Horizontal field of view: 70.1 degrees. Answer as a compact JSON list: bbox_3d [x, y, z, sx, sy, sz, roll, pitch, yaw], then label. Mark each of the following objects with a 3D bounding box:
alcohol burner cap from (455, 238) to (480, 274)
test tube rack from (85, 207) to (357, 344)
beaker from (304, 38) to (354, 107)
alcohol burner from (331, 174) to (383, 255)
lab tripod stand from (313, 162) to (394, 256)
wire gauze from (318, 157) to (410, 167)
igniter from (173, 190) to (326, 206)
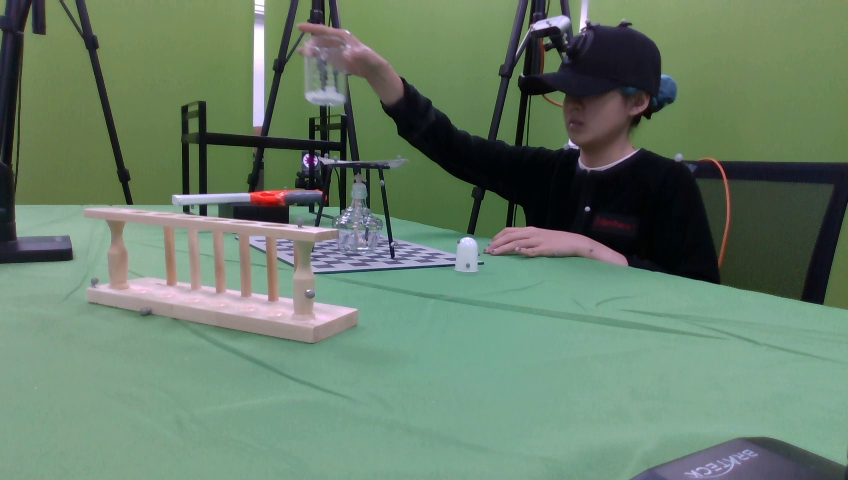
[{"bbox_3d":[0.058,0.022,0.798,0.034,0.048,0.034,3,6,0],"label":"alcohol burner cap"},{"bbox_3d":[-0.177,0.022,0.518,0.241,0.085,0.067,6,7,23],"label":"test tube rack"},{"bbox_3d":[-0.159,-0.277,1.011,0.084,0.100,0.074,1,3,-8],"label":"beaker"},{"bbox_3d":[-0.098,-0.038,0.895,0.078,0.119,0.078,4,9,0],"label":"alcohol burner"},{"bbox_3d":[-0.098,-0.048,0.897,0.148,0.131,0.148,1,6,0],"label":"lab tripod stand"},{"bbox_3d":[-0.091,-0.115,0.887,0.122,0.011,0.124,0,6,-15],"label":"wire gauze"},{"bbox_3d":[-0.317,-0.079,1.128,0.278,0.025,0.057,-4,13,-32],"label":"igniter"}]
